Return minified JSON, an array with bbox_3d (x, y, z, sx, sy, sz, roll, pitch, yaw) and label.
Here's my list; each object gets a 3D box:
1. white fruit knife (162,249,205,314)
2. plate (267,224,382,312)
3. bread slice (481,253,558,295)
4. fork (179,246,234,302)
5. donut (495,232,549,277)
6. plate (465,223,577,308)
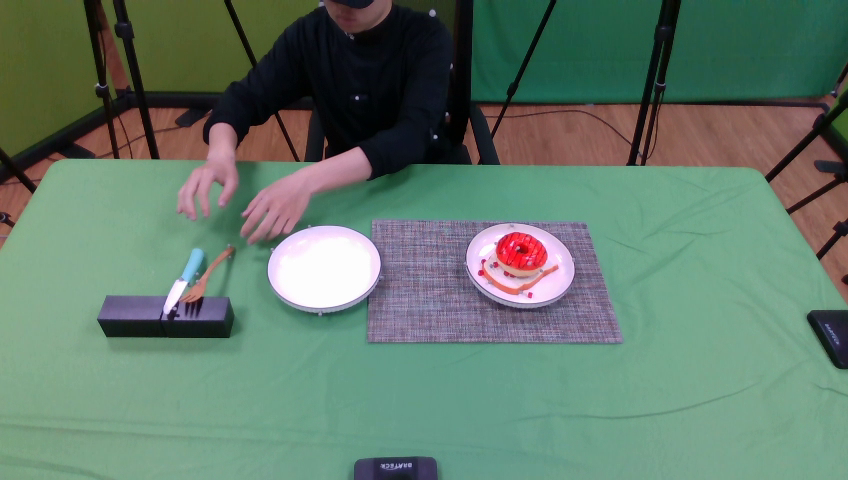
[{"bbox_3d":[-0.420,0.070,1.063,0.027,0.016,0.206,-2,29,-2],"label":"white fruit knife"},{"bbox_3d":[-0.182,0.055,1.120,0.208,0.039,0.206,2,46,-2],"label":"plate"},{"bbox_3d":[0.177,0.050,1.148,0.131,0.019,0.104,-32,55,-31],"label":"bread slice"},{"bbox_3d":[-0.380,0.057,1.075,0.028,0.019,0.206,1,28,6],"label":"fork"},{"bbox_3d":[0.181,0.026,1.119,0.099,0.048,0.098,2,46,-2],"label":"donut"},{"bbox_3d":[0.180,0.051,1.144,0.209,0.038,0.208,2,45,-2],"label":"plate"}]
